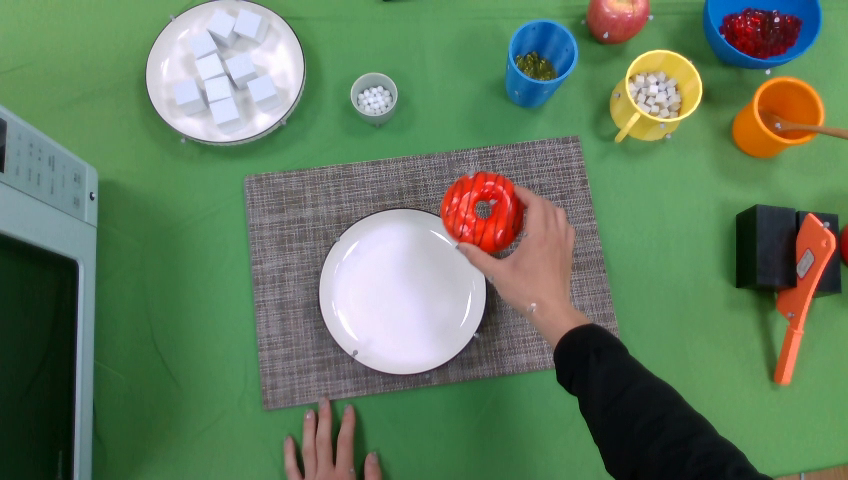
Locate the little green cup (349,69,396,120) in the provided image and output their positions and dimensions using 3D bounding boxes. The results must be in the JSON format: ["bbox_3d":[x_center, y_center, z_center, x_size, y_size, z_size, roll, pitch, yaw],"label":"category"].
[{"bbox_3d":[-0.067,-0.191,0.806,0.061,0.039,0.061,0,78,-1],"label":"little green cup"}]

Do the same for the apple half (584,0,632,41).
[{"bbox_3d":[0.245,-0.312,0.821,0.053,0.075,0.080,-2,81,2],"label":"apple half"}]

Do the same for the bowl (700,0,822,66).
[{"bbox_3d":[0.437,-0.295,0.819,0.151,0.077,0.150,0,79,-1],"label":"bowl"}]

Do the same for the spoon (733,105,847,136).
[{"bbox_3d":[0.480,-0.141,0.752,0.041,0.192,0.022,-50,127,-10],"label":"spoon"}]

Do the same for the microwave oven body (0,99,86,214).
[{"bbox_3d":[-0.559,0.098,0.618,0.326,0.261,0.439,-4,79,-3],"label":"microwave oven body"}]

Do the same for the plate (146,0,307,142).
[{"bbox_3d":[-0.258,-0.225,0.809,0.208,0.039,0.206,0,78,-1],"label":"plate"}]

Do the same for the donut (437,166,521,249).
[{"bbox_3d":[0.064,-0.037,0.698,0.099,0.048,0.098,1,79,-6],"label":"donut"}]

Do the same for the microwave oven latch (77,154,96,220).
[{"bbox_3d":[-0.427,-0.065,0.753,0.030,0.029,0.079,-3,79,-2],"label":"microwave oven latch"}]

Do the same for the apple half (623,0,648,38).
[{"bbox_3d":[0.284,-0.314,0.820,0.033,0.081,0.081,-2,78,2],"label":"apple half"}]

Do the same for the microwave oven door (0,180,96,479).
[{"bbox_3d":[-0.410,0.127,0.610,0.039,0.244,0.354,-5,78,-2],"label":"microwave oven door"}]

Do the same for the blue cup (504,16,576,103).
[{"bbox_3d":[0.142,-0.225,0.786,0.093,0.100,0.092,0,80,-1],"label":"blue cup"}]

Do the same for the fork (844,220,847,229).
[{"bbox_3d":[0.616,0.016,0.725,0.028,0.019,0.205,-37,38,-17],"label":"fork"}]

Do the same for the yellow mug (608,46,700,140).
[{"bbox_3d":[0.292,-0.183,0.799,0.099,0.064,0.130,40,82,7],"label":"yellow mug"}]

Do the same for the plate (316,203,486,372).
[{"bbox_3d":[-0.028,0.058,0.752,0.209,0.038,0.208,0,79,-1],"label":"plate"}]

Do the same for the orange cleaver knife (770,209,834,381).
[{"bbox_3d":[0.453,0.069,0.742,0.012,0.077,0.212,7,108,3],"label":"orange cleaver knife"}]
